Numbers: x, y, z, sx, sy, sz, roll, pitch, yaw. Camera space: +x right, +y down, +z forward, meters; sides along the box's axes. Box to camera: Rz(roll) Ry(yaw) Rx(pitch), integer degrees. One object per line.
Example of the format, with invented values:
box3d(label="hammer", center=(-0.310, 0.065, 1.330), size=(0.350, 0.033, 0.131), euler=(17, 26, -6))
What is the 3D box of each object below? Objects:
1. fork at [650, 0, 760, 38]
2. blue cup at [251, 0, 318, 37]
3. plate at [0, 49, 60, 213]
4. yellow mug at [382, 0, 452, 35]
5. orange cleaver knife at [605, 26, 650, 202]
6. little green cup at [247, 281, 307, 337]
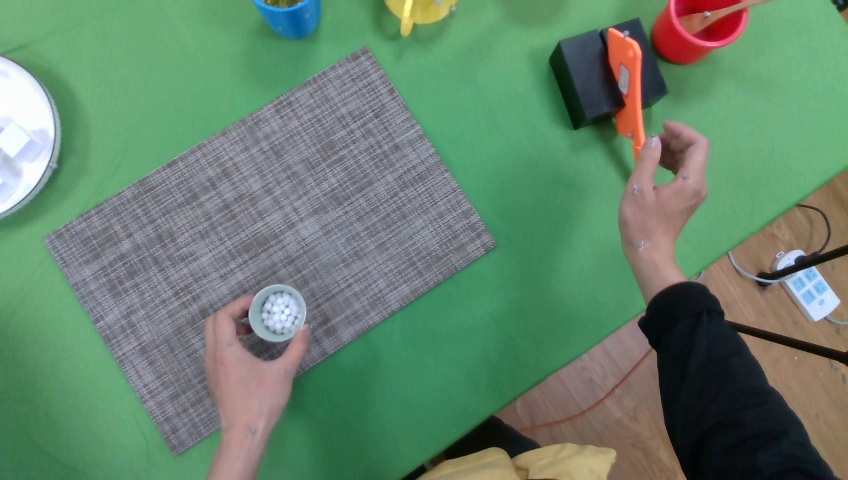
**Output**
box3d(label="fork", center=(0.375, -0.280, 0.720), size=(0.206, 0.019, 0.028), euler=(-8, 80, 38))
box3d(label="blue cup", center=(-0.163, -0.288, 0.713), size=(0.093, 0.100, 0.092), euler=(0, 85, -4))
box3d(label="plate", center=(-0.528, -0.123, 0.707), size=(0.208, 0.039, 0.207), euler=(0, 84, -3))
box3d(label="yellow mug", center=(-0.012, -0.315, 0.742), size=(0.100, 0.064, 0.130), euler=(15, 84, -1))
box3d(label="orange cleaver knife", center=(0.245, -0.150, 0.732), size=(0.012, 0.076, 0.213), euler=(-18, 115, -3))
box3d(label="little green cup", center=(-0.159, 0.077, 0.669), size=(0.061, 0.039, 0.061), euler=(0, 84, 3))
